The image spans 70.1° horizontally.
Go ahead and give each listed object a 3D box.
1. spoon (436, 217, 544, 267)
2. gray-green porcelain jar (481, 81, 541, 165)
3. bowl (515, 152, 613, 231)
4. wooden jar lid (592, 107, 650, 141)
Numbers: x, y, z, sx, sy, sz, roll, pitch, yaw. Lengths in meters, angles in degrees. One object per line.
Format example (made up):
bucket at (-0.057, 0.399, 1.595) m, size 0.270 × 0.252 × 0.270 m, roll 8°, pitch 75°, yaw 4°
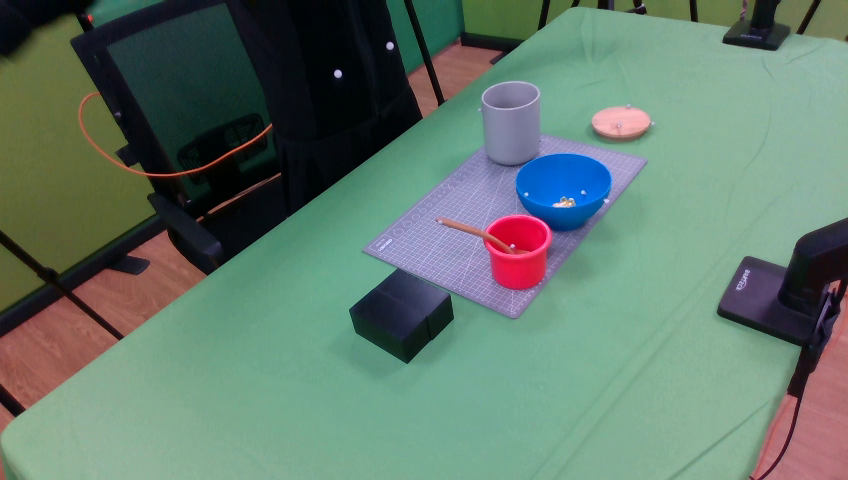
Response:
spoon at (0.097, 0.001, 0.864) m, size 0.195 × 0.021 × 0.041 m, roll 25°, pitch 24°, yaw -30°
gray-green porcelain jar at (0.162, -0.212, 1.117) m, size 0.106 × 0.127 × 0.105 m, roll -5°, pitch 40°, yaw 5°
bowl at (0.224, -0.068, 0.972) m, size 0.151 × 0.077 × 0.150 m, roll -5°, pitch 40°, yaw 5°
wooden jar lid at (0.382, -0.225, 1.178) m, size 0.108 × 0.021 × 0.108 m, roll -5°, pitch 40°, yaw 4°
